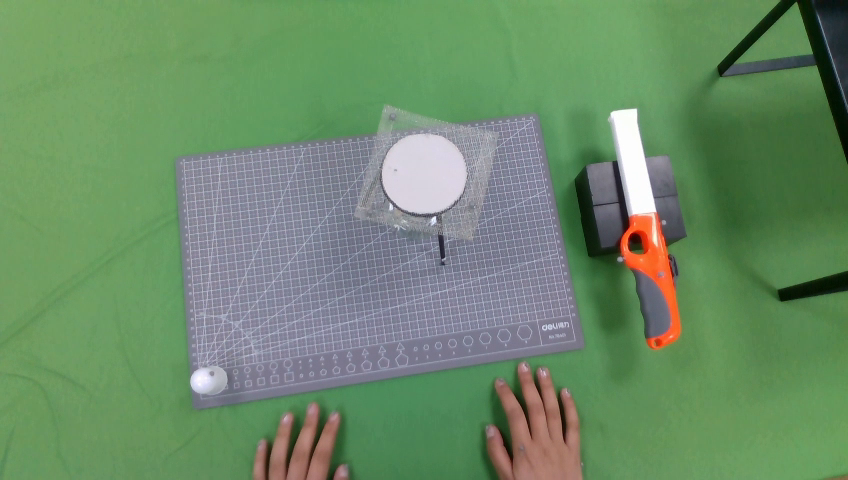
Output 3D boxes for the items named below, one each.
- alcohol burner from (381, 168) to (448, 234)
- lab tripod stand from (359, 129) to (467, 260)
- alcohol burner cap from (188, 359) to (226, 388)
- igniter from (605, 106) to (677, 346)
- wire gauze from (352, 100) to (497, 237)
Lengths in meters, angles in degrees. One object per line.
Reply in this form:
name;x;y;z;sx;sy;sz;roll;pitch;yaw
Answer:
alcohol burner;-0.010;-0.047;0.677;0.078;0.119;0.077;0;80;-2
lab tripod stand;-0.003;-0.060;0.670;0.148;0.132;0.147;1;76;-2
alcohol burner cap;-0.240;0.146;0.662;0.034;0.048;0.033;1;77;-3
igniter;0.243;-0.021;0.683;0.057;0.025;0.275;-6;77;-1
wire gauze;0.002;-0.072;0.604;0.121;0.011;0.124;14;77;0
